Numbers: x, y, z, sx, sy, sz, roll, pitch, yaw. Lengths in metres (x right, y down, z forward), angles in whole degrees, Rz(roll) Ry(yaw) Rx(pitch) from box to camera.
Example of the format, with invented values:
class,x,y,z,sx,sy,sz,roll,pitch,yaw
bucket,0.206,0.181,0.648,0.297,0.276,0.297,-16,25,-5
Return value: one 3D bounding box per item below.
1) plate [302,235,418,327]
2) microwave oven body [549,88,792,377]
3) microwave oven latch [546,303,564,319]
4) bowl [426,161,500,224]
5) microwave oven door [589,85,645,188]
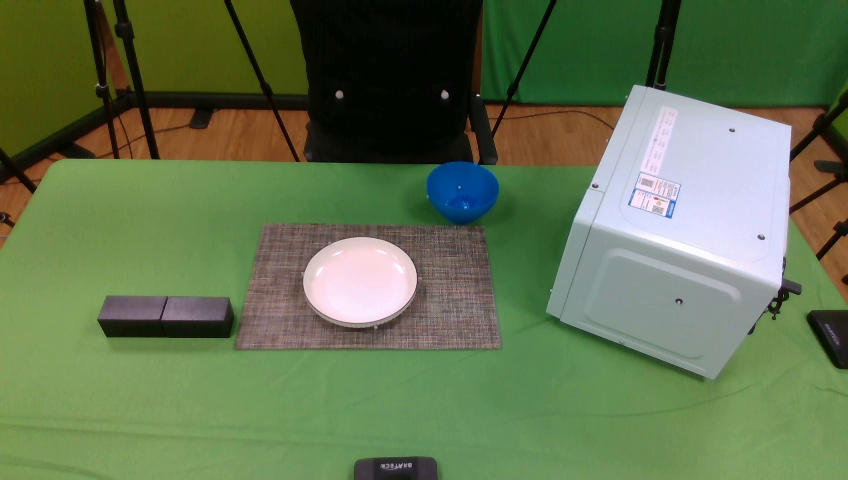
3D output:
class,x,y,z,sx,sy,sz,roll,pitch,yaw
plate,-0.114,0.077,1.098,0.208,0.039,0.206,2,46,-2
microwave oven body,0.456,-0.028,1.088,0.325,0.261,0.440,20,47,16
microwave oven latch,0.242,0.102,1.081,0.030,0.029,0.079,21,48,17
bowl,0.077,-0.086,1.248,0.151,0.077,0.150,2,46,-2
microwave oven door,0.342,-0.107,1.149,0.039,0.245,0.354,20,48,15
